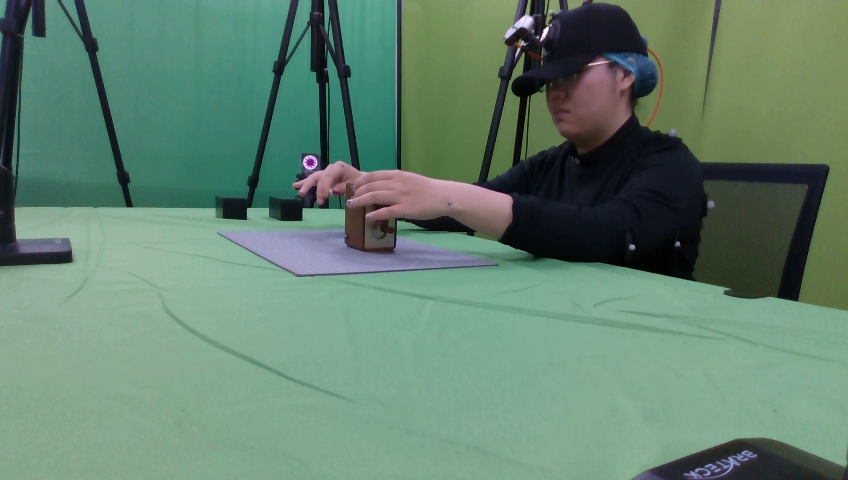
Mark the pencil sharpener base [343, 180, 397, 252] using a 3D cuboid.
[{"bbox_3d":[-0.085,-0.038,0.956,0.062,0.107,0.076,-2,9,-33],"label":"pencil sharpener base"}]

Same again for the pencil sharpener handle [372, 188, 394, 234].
[{"bbox_3d":[-0.056,-0.044,0.913,0.036,0.067,0.030,-4,10,-32],"label":"pencil sharpener handle"}]

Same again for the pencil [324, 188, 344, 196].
[{"bbox_3d":[-0.127,-0.077,1.024,0.012,0.012,0.193,-2,9,-33],"label":"pencil"}]
